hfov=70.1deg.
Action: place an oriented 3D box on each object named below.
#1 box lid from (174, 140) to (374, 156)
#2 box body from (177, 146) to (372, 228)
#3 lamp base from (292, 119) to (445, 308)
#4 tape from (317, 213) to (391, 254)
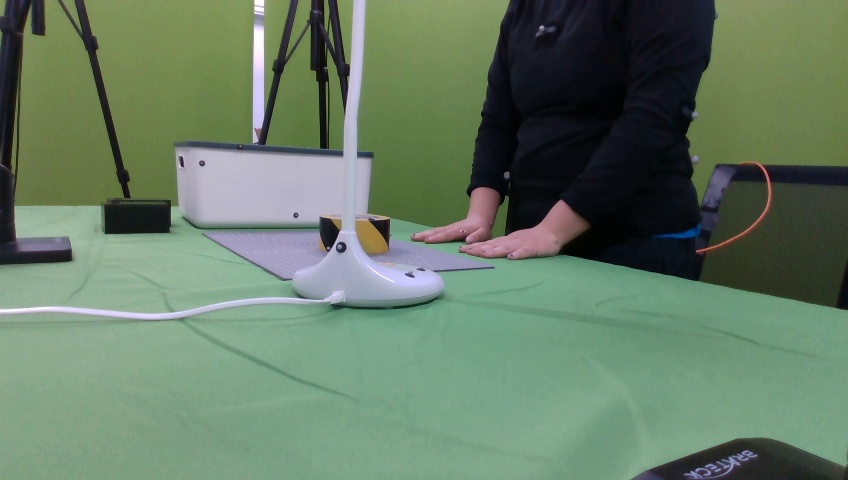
[{"bbox_3d":[-0.318,-0.190,1.270,0.373,0.015,0.262,-1,8,-29],"label":"box lid"},{"bbox_3d":[-0.319,-0.117,1.280,0.366,0.160,0.253,-1,8,-29],"label":"box body"},{"bbox_3d":[-0.056,-0.030,0.616,0.160,0.180,0.179,4,10,8],"label":"lamp base"},{"bbox_3d":[-0.109,-0.012,0.938,0.117,0.052,0.117,2,7,0],"label":"tape"}]
